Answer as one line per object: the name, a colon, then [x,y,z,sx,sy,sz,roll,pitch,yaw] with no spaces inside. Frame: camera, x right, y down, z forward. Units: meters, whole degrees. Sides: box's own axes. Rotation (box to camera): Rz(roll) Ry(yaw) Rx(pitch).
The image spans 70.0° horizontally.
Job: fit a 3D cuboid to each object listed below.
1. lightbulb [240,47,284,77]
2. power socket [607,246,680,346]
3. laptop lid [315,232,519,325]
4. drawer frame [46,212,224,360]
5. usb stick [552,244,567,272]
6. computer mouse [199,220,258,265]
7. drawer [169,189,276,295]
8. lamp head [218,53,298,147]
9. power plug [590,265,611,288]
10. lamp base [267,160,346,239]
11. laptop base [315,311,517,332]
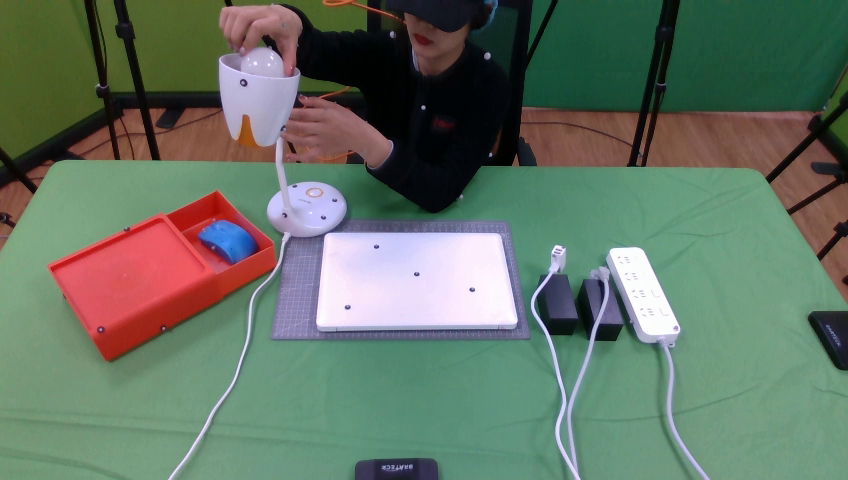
lightbulb: [-0.236,-0.222,0.869,0.059,0.108,0.059,14,30,-8]
power socket: [0.403,0.096,1.123,0.072,0.033,0.225,-3,46,-5]
laptop lid: [-0.015,0.065,1.118,0.357,0.013,0.240,1,43,-3]
drawer frame: [-0.495,0.071,1.050,0.213,0.083,0.200,-32,56,-29]
usb stick: [0.251,0.039,1.123,0.021,0.059,0.027,14,47,24]
computer mouse: [-0.374,-0.001,1.153,0.116,0.041,0.063,30,52,28]
drawer: [-0.413,0.022,1.108,0.212,0.073,0.193,-33,57,-30]
lamp head: [-0.245,-0.202,0.888,0.112,0.123,0.112,10,33,-7]
power plug: [0.318,0.073,1.108,0.035,0.053,0.072,26,33,13]
lamp base: [-0.241,-0.110,1.174,0.160,0.181,0.178,11,49,9]
laptop base: [-0.016,0.075,1.125,0.355,0.023,0.234,0,42,-4]
